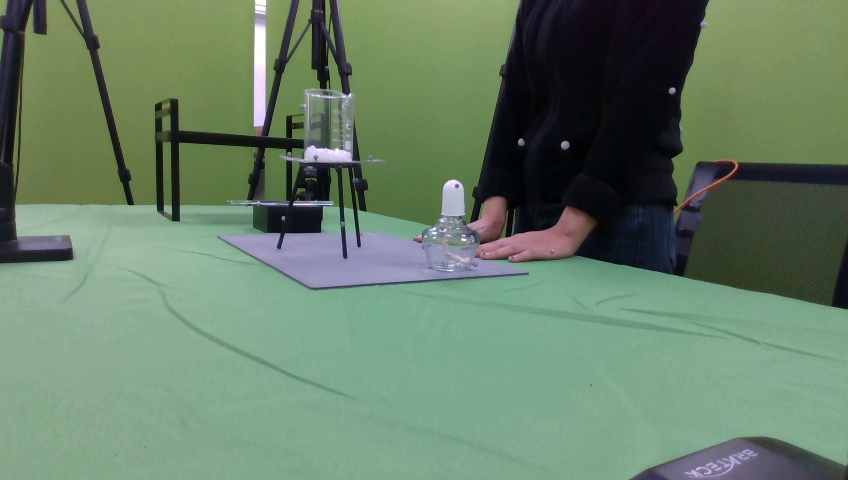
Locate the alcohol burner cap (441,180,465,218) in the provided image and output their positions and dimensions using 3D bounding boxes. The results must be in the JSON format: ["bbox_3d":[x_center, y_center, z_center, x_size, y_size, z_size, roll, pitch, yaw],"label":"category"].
[{"bbox_3d":[0.038,-0.054,0.781,0.034,0.048,0.034,0,13,0],"label":"alcohol burner cap"}]

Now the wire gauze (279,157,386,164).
[{"bbox_3d":[-0.134,-0.113,0.875,0.122,0.011,0.124,-1,6,-30],"label":"wire gauze"}]

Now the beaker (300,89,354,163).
[{"bbox_3d":[-0.137,-0.161,0.869,0.083,0.100,0.074,9,10,42],"label":"beaker"}]

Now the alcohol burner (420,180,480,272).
[{"bbox_3d":[0.035,-0.018,0.785,0.078,0.119,0.078,4,6,0],"label":"alcohol burner"}]

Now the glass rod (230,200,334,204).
[{"bbox_3d":[-0.265,-0.071,1.144,0.201,0.008,0.008,-1,8,-31],"label":"glass rod"}]

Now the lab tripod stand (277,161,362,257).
[{"bbox_3d":[-0.143,-0.049,0.884,0.148,0.131,0.148,1,9,0],"label":"lab tripod stand"}]
